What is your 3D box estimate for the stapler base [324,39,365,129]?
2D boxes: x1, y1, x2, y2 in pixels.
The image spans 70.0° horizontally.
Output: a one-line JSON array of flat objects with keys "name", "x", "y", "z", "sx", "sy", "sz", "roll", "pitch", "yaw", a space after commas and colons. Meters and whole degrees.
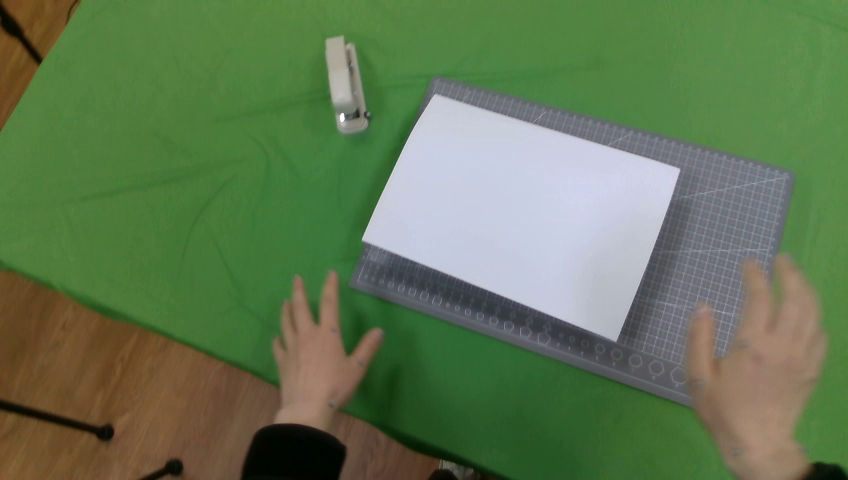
[{"name": "stapler base", "x": -0.104, "y": -0.206, "z": 0.781, "sx": 0.041, "sy": 0.024, "sz": 0.129, "roll": -10, "pitch": 72, "yaw": -1}]

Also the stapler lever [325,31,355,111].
[{"name": "stapler lever", "x": -0.107, "y": -0.215, "z": 0.759, "sx": 0.027, "sy": 0.040, "sz": 0.117, "roll": -10, "pitch": 73, "yaw": -1}]
